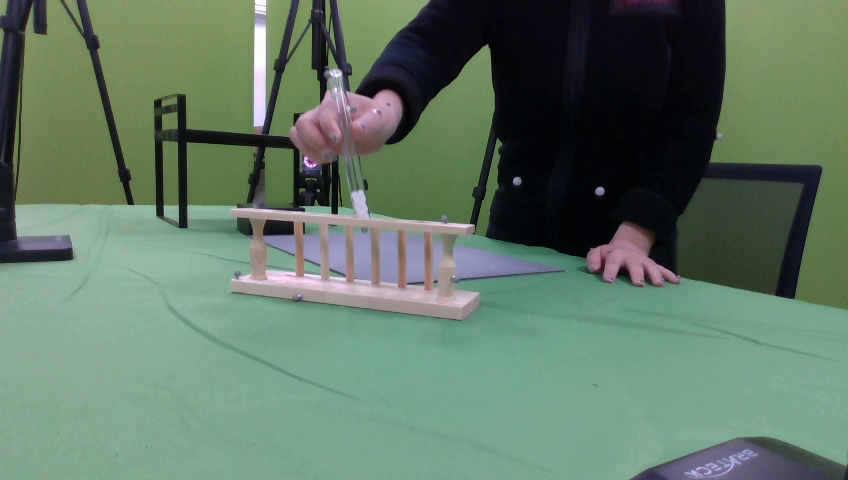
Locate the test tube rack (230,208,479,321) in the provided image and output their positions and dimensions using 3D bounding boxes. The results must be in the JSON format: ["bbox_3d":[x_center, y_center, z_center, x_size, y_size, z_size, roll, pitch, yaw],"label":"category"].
[{"bbox_3d":[-0.069,0.018,0.598,0.242,0.085,0.067,5,7,18],"label":"test tube rack"}]

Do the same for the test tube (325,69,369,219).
[{"bbox_3d":[-0.073,-0.087,0.575,0.017,0.150,0.017,-11,1,0],"label":"test tube"}]
